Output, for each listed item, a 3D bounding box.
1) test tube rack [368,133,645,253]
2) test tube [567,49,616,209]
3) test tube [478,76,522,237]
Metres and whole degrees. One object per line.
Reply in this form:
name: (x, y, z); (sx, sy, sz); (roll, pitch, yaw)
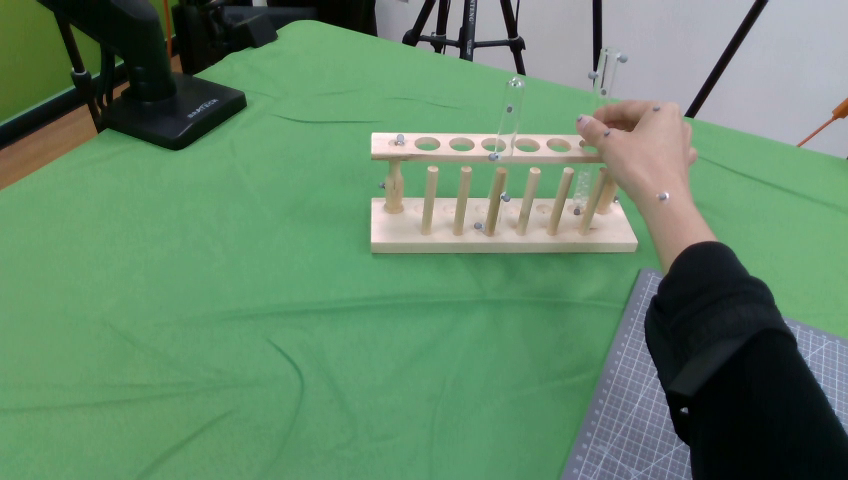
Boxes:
test tube rack: (0.071, -0.041, 0.545); (0.243, 0.086, 0.066); (0, 42, -5)
test tube: (0.146, -0.092, 0.534); (0.017, 0.151, 0.017); (1, 36, -1)
test tube: (0.062, -0.064, 0.502); (0.017, 0.152, 0.017); (3, 39, -2)
